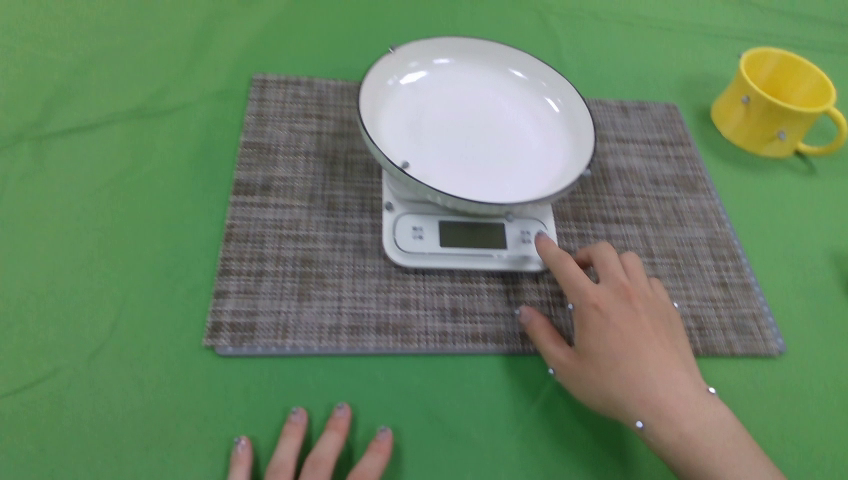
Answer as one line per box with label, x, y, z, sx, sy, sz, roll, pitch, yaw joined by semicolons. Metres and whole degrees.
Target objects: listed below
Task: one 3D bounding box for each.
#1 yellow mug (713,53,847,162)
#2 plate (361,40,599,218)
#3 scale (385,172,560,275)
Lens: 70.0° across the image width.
yellow mug;0.383;-0.132;0.637;0.130;0.064;0.100;40;58;19
plate;0.048;-0.098;0.533;0.209;0.038;0.207;5;53;-6
scale;0.040;-0.059;0.545;0.149;0.032;0.199;3;54;-7
